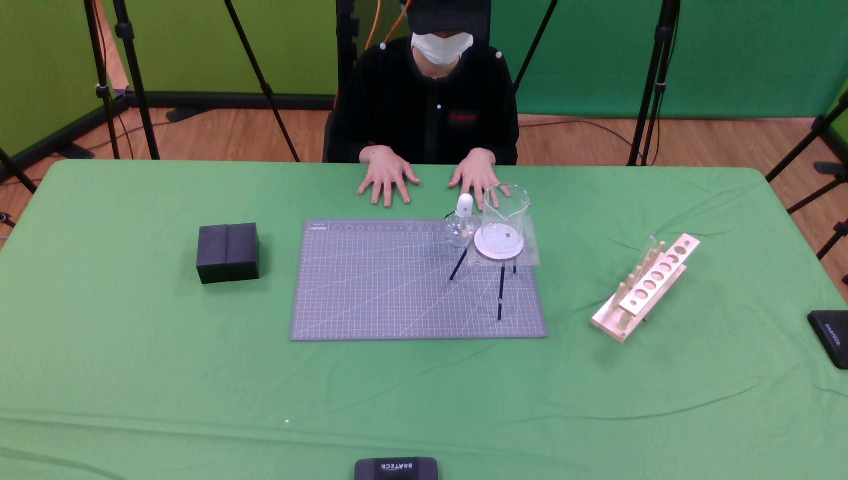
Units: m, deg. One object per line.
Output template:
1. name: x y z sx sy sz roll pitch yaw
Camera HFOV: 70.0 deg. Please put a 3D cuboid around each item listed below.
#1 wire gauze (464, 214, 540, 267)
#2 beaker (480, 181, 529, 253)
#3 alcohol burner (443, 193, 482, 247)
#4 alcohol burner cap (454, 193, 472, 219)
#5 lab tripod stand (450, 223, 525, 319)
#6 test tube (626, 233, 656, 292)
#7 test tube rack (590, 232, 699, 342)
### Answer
1. wire gauze: 0.131 -0.001 1.035 0.121 0.011 0.124 1 44 -2
2. beaker: 0.130 -0.033 0.998 0.074 0.101 0.083 5 46 4
3. alcohol burner: 0.075 -0.044 1.177 0.078 0.120 0.077 1 44 -1
4. alcohol burner cap: 0.076 -0.068 1.151 0.034 0.048 0.033 3 46 -3
5. lab tripod stand: 0.120 0.046 1.080 0.148 0.132 0.147 1 47 -1
6. test tube: 0.384 0.042 1.079 0.017 0.151 0.017 1 47 -1
7. test tube rack: 0.407 0.074 1.112 0.066 0.085 0.242 35 53 26
